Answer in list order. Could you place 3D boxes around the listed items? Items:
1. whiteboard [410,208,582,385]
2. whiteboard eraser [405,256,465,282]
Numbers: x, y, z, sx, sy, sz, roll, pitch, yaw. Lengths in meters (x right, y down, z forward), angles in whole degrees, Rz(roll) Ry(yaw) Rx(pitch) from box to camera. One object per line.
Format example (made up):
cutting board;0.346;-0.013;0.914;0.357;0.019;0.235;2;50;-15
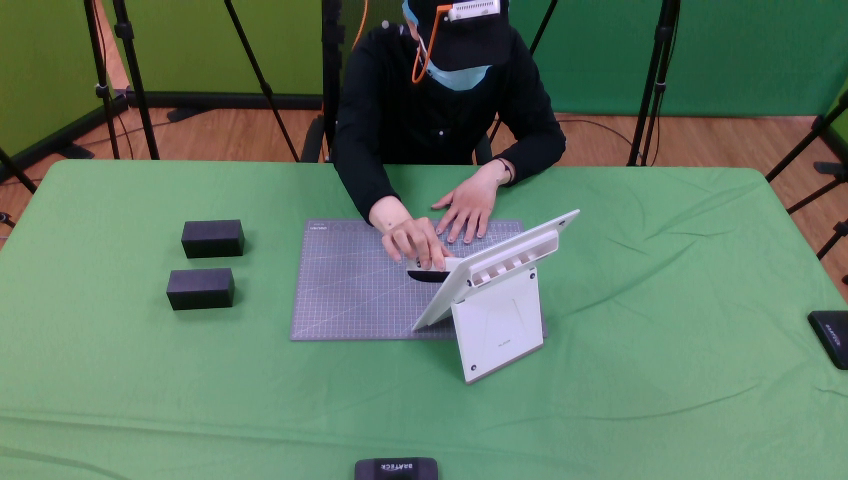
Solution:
whiteboard;0.132;0.109;0.945;0.217;0.306;0.143;-21;72;-23
whiteboard eraser;0.030;0.045;0.946;0.112;0.056;0.042;-2;82;35
